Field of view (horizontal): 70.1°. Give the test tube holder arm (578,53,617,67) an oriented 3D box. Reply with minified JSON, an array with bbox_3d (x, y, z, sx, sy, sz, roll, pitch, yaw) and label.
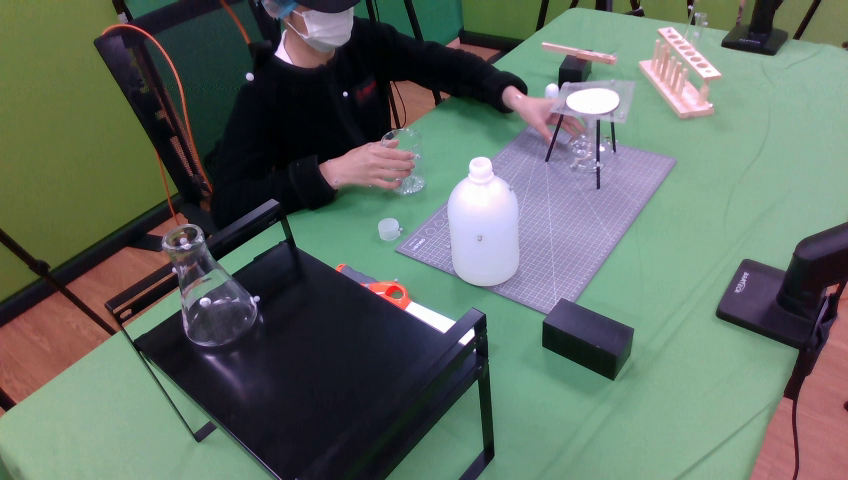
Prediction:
[{"bbox_3d":[0.376,-0.393,1.314,0.087,0.015,0.010,26,51,32],"label":"test tube holder arm"}]

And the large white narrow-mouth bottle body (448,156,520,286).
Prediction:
[{"bbox_3d":[0.086,-0.032,0.869,0.102,0.195,0.101,-4,40,4],"label":"large white narrow-mouth bottle body"}]

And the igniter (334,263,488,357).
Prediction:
[{"bbox_3d":[-0.030,0.095,0.872,0.274,0.025,0.057,23,59,31],"label":"igniter"}]

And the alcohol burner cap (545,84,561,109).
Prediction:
[{"bbox_3d":[0.274,-0.308,1.285,0.034,0.048,0.033,-5,42,5],"label":"alcohol burner cap"}]

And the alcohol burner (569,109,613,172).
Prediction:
[{"bbox_3d":[0.298,-0.181,1.073,0.078,0.119,0.077,-5,43,5],"label":"alcohol burner"}]

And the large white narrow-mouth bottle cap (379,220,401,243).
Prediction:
[{"bbox_3d":[-0.057,-0.015,1.011,0.038,0.024,0.037,-4,40,4],"label":"large white narrow-mouth bottle cap"}]

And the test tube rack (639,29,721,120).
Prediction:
[{"bbox_3d":[0.527,-0.351,1.262,0.067,0.085,0.241,-8,40,1],"label":"test tube rack"}]

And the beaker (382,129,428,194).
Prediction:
[{"bbox_3d":[-0.030,-0.142,1.096,0.073,0.101,0.084,13,44,23],"label":"beaker"}]

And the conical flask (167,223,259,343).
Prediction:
[{"bbox_3d":[-0.220,0.041,0.613,0.075,0.122,0.075,-5,40,4],"label":"conical flask"}]

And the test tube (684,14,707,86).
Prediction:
[{"bbox_3d":[0.541,-0.379,1.216,0.017,0.151,0.017,-2,44,2],"label":"test tube"}]

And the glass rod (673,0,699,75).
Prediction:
[{"bbox_3d":[0.541,-0.427,1.246,0.008,0.200,0.008,0,48,1],"label":"glass rod"}]

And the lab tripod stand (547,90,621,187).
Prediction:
[{"bbox_3d":[0.289,-0.184,1.062,0.148,0.132,0.147,-6,41,6],"label":"lab tripod stand"}]

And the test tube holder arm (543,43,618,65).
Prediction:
[{"bbox_3d":[0.345,-0.413,1.341,0.177,0.015,0.013,25,50,31],"label":"test tube holder arm"}]

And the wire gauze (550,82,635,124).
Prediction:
[{"bbox_3d":[0.285,-0.236,1.020,0.124,0.011,0.121,10,44,22],"label":"wire gauze"}]
